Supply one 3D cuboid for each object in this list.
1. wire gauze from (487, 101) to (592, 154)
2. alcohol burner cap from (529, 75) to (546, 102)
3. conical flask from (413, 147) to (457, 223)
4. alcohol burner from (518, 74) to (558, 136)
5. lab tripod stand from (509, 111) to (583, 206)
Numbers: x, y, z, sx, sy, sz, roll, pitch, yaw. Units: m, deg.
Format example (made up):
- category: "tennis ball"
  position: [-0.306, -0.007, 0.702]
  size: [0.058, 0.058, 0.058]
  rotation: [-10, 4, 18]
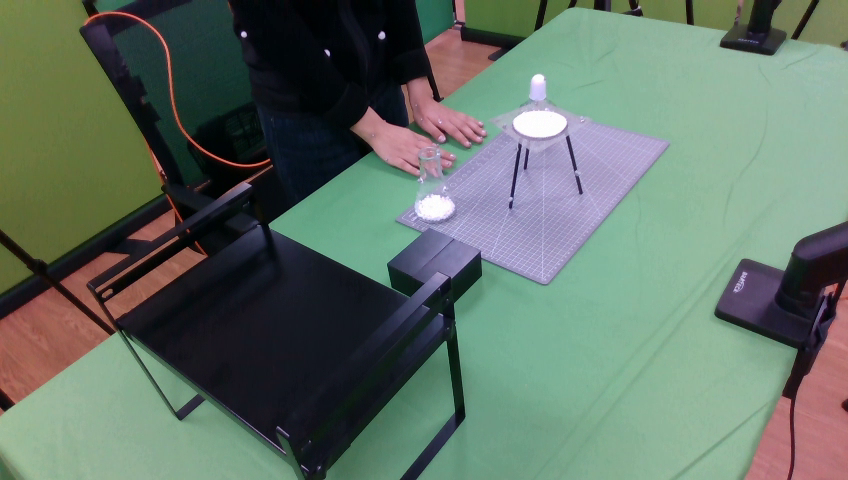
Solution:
- category: "wire gauze"
  position: [0.185, -0.187, 0.974]
  size: [0.122, 0.011, 0.124]
  rotation: [-27, 44, -23]
- category: "alcohol burner cap"
  position: [0.218, -0.292, 1.156]
  size: [0.034, 0.048, 0.033]
  rotation: [-4, 46, 4]
- category: "conical flask"
  position: [0.013, -0.094, 1.003]
  size: [0.075, 0.122, 0.075]
  rotation: [-5, 41, 4]
- category: "alcohol burner"
  position: [0.222, -0.265, 1.179]
  size: [0.078, 0.119, 0.077]
  rotation: [-5, 39, 5]
- category: "lab tripod stand"
  position: [0.197, -0.139, 1.019]
  size: [0.148, 0.132, 0.147]
  rotation: [-3, 39, 3]
